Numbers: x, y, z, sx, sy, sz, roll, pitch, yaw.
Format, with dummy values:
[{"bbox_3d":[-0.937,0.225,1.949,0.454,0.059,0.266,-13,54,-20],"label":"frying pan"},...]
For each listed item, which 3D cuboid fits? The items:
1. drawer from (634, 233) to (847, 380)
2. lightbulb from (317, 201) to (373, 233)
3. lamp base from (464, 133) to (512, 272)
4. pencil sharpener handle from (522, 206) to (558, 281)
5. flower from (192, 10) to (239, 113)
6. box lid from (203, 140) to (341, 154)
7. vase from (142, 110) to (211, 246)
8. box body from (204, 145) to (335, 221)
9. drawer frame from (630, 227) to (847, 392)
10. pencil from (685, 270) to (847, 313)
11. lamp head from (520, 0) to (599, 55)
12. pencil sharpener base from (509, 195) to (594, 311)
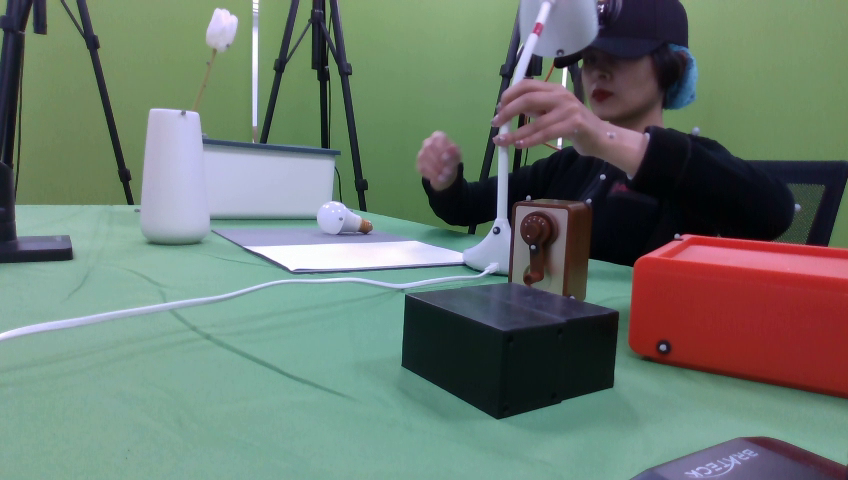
[{"bbox_3d":[0.292,0.045,0.488,0.193,0.073,0.213,7,10,30],"label":"drawer"},{"bbox_3d":[-0.143,-0.036,1.108,0.108,0.059,0.059,16,0,-28],"label":"lightbulb"},{"bbox_3d":[0.130,-0.053,0.807,0.160,0.180,0.180,5,12,25],"label":"lamp base"},{"bbox_3d":[0.101,0.003,0.555,0.036,0.067,0.031,0,5,31],"label":"pencil sharpener handle"},{"bbox_3d":[-0.354,-0.174,0.915,0.038,0.361,0.044,17,-3,12],"label":"flower"},{"bbox_3d":[-0.396,-0.212,1.373,0.373,0.015,0.262,-1,9,-29],"label":"box lid"},{"bbox_3d":[-0.378,-0.093,0.920,0.098,0.200,0.098,2,9,0],"label":"vase"},{"bbox_3d":[-0.411,-0.135,1.386,0.366,0.160,0.253,-2,9,-29],"label":"box body"},{"bbox_3d":[0.292,0.043,0.484,0.201,0.082,0.214,7,9,29],"label":"drawer frame"},{"bbox_3d":[0.308,0.045,0.516,0.194,0.012,0.012,13,5,-12],"label":"pencil"},{"bbox_3d":[0.182,-0.333,0.832,0.112,0.112,0.123,5,-26,21],"label":"lamp head"},{"bbox_3d":[0.126,0.011,0.601,0.061,0.107,0.077,7,9,30],"label":"pencil sharpener base"}]
